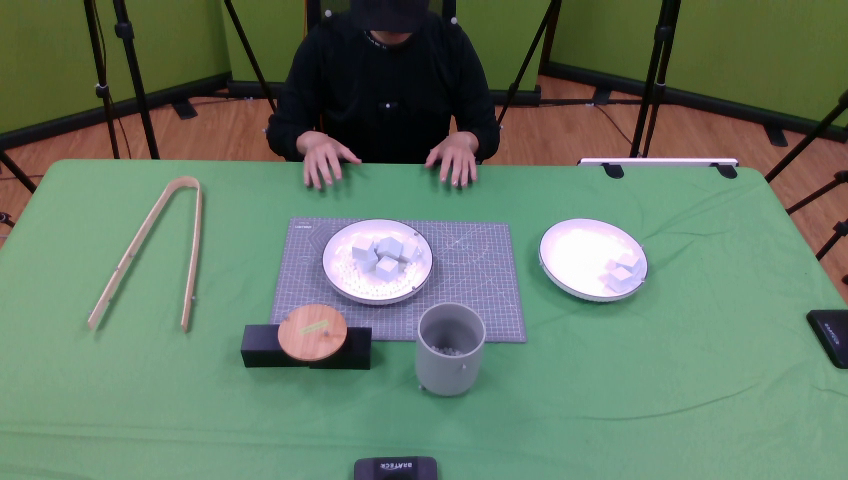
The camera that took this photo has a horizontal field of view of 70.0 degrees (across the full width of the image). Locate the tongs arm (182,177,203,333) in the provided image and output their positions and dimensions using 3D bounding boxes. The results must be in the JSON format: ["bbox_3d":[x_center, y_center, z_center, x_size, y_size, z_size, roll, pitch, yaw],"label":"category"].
[{"bbox_3d":[-0.442,0.014,1.148,0.028,0.028,0.385,-7,47,-9],"label":"tongs arm"}]

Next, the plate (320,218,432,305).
[{"bbox_3d":[-0.089,0.044,1.134,0.209,0.038,0.208,3,46,-2],"label":"plate"}]

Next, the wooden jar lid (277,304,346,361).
[{"bbox_3d":[-0.179,0.150,0.972,0.108,0.021,0.107,2,45,-2],"label":"wooden jar lid"}]

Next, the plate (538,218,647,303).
[{"bbox_3d":[0.322,0.042,1.171,0.208,0.039,0.206,2,46,-2],"label":"plate"}]

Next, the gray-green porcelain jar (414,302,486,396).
[{"bbox_3d":[0.038,0.177,0.958,0.106,0.127,0.105,2,46,-2],"label":"gray-green porcelain jar"}]

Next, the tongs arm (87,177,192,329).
[{"bbox_3d":[-0.523,0.009,1.139,0.051,0.026,0.382,5,45,-2],"label":"tongs arm"}]
